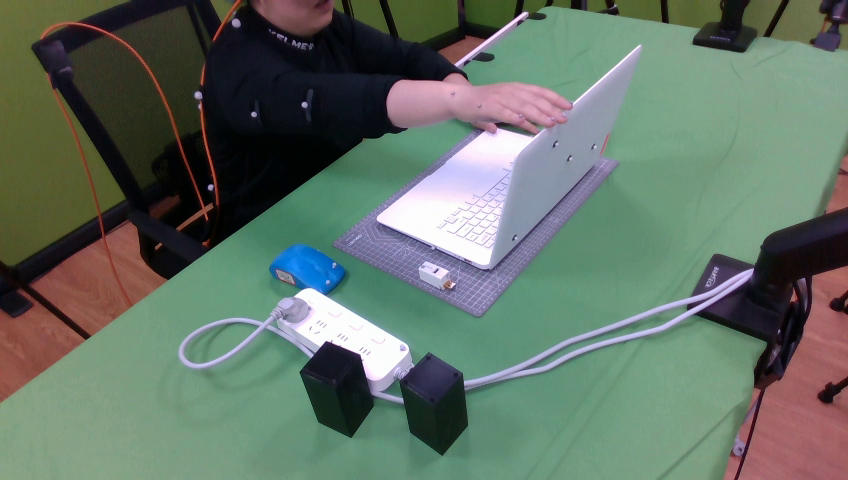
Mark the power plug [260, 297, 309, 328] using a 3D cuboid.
[{"bbox_3d":[-0.193,0.107,0.831,0.073,0.053,0.035,-32,44,-25],"label":"power plug"}]

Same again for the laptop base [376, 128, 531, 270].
[{"bbox_3d":[0.115,-0.086,1.057,0.233,0.023,0.355,22,48,34],"label":"laptop base"}]

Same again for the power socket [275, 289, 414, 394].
[{"bbox_3d":[-0.115,0.132,0.820,0.225,0.033,0.072,25,49,32],"label":"power socket"}]

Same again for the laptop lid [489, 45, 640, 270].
[{"bbox_3d":[0.214,-0.125,0.907,0.013,0.242,0.358,33,52,22],"label":"laptop lid"}]

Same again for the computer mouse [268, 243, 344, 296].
[{"bbox_3d":[-0.182,0.043,0.932,0.116,0.041,0.063,23,48,25],"label":"computer mouse"}]

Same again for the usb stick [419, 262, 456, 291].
[{"bbox_3d":[0.022,0.056,0.891,0.058,0.027,0.021,25,49,32],"label":"usb stick"}]
